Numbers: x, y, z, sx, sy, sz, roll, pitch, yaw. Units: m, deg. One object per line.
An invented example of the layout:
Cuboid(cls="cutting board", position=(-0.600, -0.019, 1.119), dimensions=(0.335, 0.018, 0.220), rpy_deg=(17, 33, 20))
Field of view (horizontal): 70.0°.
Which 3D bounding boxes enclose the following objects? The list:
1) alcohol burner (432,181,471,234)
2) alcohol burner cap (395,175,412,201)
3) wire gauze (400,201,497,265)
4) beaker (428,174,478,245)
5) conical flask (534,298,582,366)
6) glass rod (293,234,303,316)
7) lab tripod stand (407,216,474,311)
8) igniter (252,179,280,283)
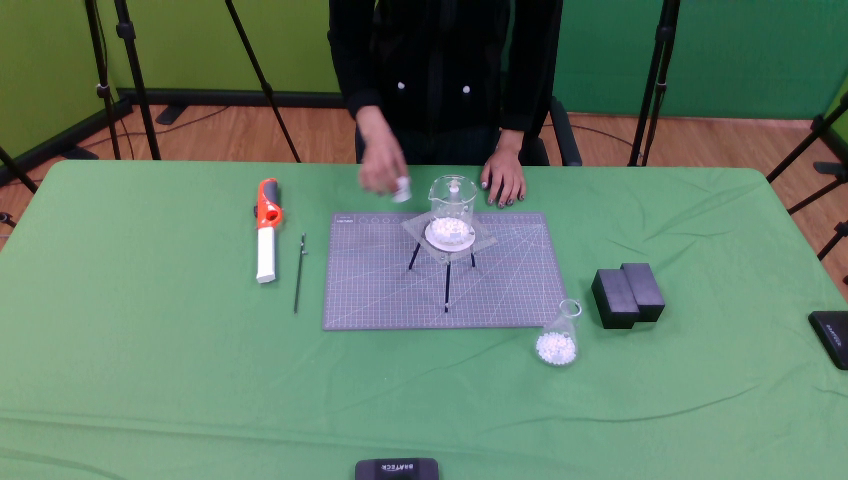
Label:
Cuboid(cls="alcohol burner", position=(0.056, -0.070, 1.205), dimensions=(0.078, 0.120, 0.077), rpy_deg=(1, 47, -1))
Cuboid(cls="alcohol burner cap", position=(-0.042, -0.102, 1.161), dimensions=(0.034, 0.048, 0.033), rpy_deg=(-3, 42, 3))
Cuboid(cls="wire gauze", position=(0.042, -0.013, 1.043), dimensions=(0.125, 0.011, 0.120), rpy_deg=(-24, 49, -23))
Cuboid(cls="beaker", position=(0.043, -0.047, 1.009), dimensions=(0.084, 0.101, 0.073), rpy_deg=(-16, 48, -19))
Cuboid(cls="conical flask", position=(0.229, 0.149, 1.005), dimensions=(0.075, 0.122, 0.075), rpy_deg=(2, 46, -2))
Cuboid(cls="glass rod", position=(-0.235, 0.060, 1.134), dimensions=(0.008, 0.008, 0.198), rpy_deg=(-1, 47, -5))
Cuboid(cls="lab tripod stand", position=(0.039, 0.030, 1.093), dimensions=(0.148, 0.132, 0.147), rpy_deg=(2, 44, -2))
Cuboid(cls="igniter", position=(-0.313, -0.027, 1.197), dimensions=(0.057, 0.025, 0.274), rpy_deg=(-12, 47, -1))
